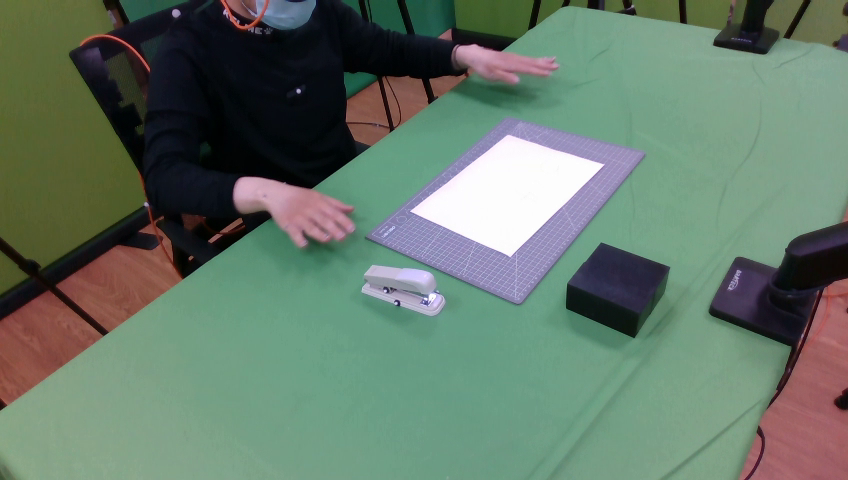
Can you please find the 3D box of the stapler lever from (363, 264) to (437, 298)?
[{"bbox_3d":[-0.036,0.054,0.873,0.117,0.040,0.027,14,42,26],"label":"stapler lever"}]

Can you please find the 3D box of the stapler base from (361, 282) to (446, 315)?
[{"bbox_3d":[-0.031,0.073,0.889,0.130,0.024,0.041,14,42,26],"label":"stapler base"}]
